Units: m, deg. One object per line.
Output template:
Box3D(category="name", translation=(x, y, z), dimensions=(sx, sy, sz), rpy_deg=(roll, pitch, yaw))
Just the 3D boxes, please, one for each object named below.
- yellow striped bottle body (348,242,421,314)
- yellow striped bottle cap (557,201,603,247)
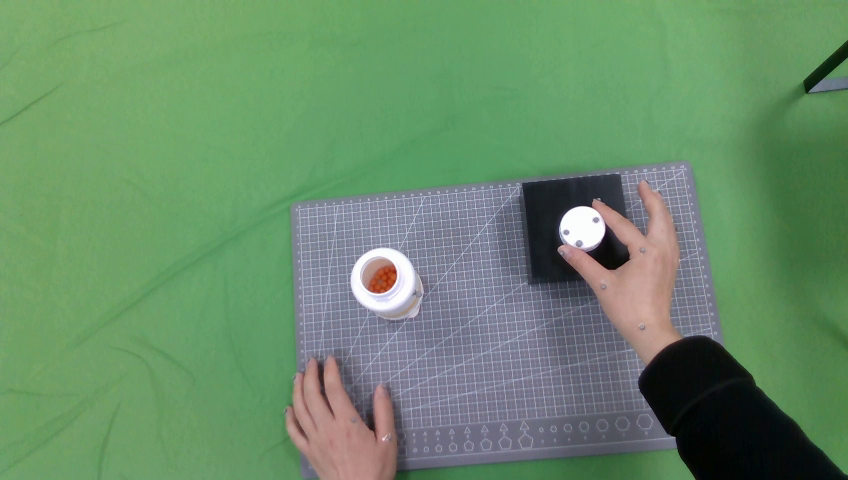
Box3D(category="yellow striped bottle body", translation=(-0.039, 0.039, 0.606), dimensions=(0.063, 0.121, 0.062), rpy_deg=(-1, 78, 4))
Box3D(category="yellow striped bottle cap", translation=(0.156, -0.016, 0.604), dimensions=(0.044, 0.019, 0.044), rpy_deg=(-2, 78, 9))
